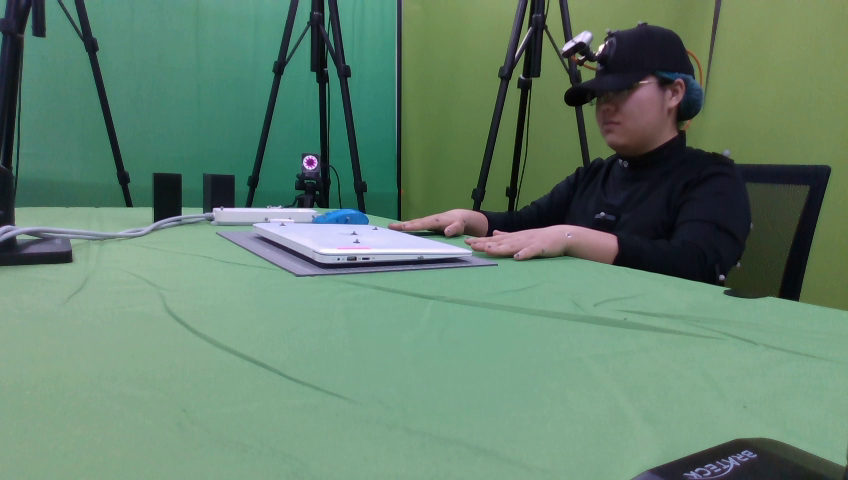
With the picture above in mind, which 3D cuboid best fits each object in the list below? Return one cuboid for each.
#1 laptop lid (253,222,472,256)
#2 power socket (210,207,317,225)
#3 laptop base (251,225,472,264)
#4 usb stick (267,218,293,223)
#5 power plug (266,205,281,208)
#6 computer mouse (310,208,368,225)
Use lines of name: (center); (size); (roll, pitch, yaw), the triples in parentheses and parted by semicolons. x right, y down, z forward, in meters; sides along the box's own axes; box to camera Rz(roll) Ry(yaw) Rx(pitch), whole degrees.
laptop lid: (-0.113, -0.005, 0.955); (0.243, 0.013, 0.355); (1, 7, -29)
power socket: (-0.335, -0.051, 1.282); (0.228, 0.032, 0.072); (-1, 9, -28)
laptop base: (-0.115, 0.007, 0.955); (0.237, 0.023, 0.352); (2, 6, -31)
usb stick: (-0.272, -0.026, 1.107); (0.059, 0.027, 0.021); (-3, 11, -27)
power plug: (-0.343, -0.056, 1.365); (0.053, 0.035, 0.072); (-22, -9, -15)
computer mouse: (-0.179, -0.044, 1.275); (0.118, 0.041, 0.062); (-6, 13, -29)
